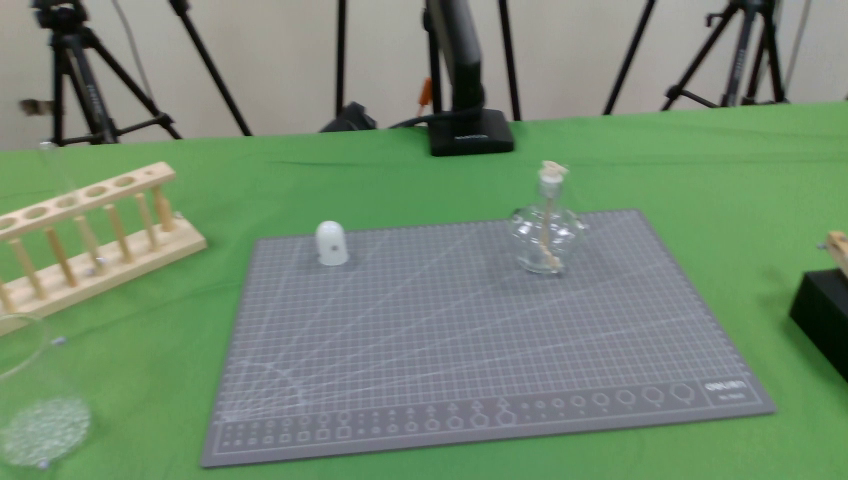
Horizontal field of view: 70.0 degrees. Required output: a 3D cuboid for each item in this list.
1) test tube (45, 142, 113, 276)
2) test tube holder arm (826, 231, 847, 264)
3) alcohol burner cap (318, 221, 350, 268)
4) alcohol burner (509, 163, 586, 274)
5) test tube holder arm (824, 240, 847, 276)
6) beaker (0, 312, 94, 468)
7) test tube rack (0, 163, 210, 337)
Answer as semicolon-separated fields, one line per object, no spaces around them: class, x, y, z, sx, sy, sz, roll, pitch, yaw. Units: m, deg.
test tube;-0.334;-0.026;0.589;0.017;0.151;0.017;-1;36;1
test tube holder arm;0.378;0.021;0.526;0.015;0.010;0.087;2;36;4
alcohol burner cap;-0.098;0.003;0.646;0.034;0.048;0.033;-2;36;2
alcohol burner;0.126;-0.025;0.610;0.078;0.120;0.077;0;36;0
test tube holder arm;0.374;0.051;0.493;0.015;0.013;0.177;1;36;4
beaker;-0.304;0.115;0.457;0.083;0.101;0.073;13;38;21
test tube rack;-0.357;0.009;0.620;0.242;0.086;0.066;-27;43;-30
